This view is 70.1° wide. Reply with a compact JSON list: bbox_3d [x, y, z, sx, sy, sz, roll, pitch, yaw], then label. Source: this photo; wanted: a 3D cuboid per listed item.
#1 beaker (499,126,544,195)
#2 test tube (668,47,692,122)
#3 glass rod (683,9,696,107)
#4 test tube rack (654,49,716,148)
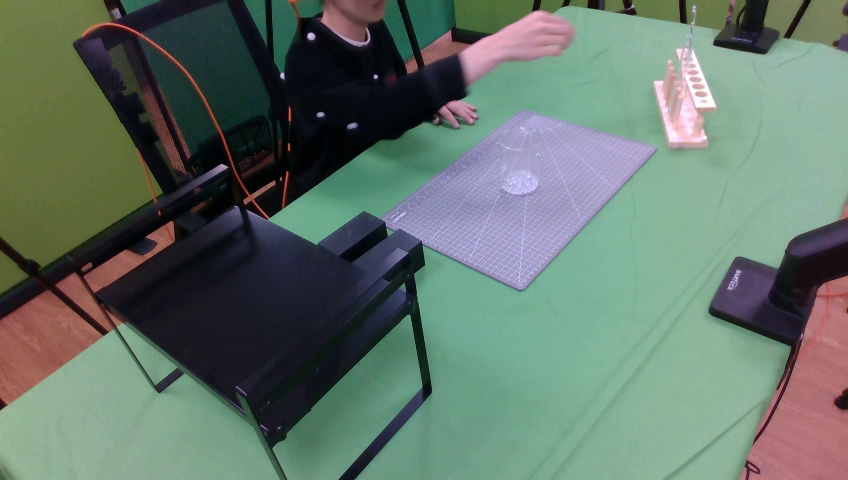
[{"bbox_3d":[0.170,-0.136,1.045,0.073,0.101,0.084,12,44,21],"label":"beaker"},{"bbox_3d":[0.472,-0.285,1.117,0.017,0.151,0.017,-4,43,4],"label":"test tube"},{"bbox_3d":[0.501,-0.337,1.141,0.008,0.201,0.008,-8,41,8],"label":"glass rod"},{"bbox_3d":[0.502,-0.281,1.176,0.066,0.085,0.241,1,41,11],"label":"test tube rack"}]
